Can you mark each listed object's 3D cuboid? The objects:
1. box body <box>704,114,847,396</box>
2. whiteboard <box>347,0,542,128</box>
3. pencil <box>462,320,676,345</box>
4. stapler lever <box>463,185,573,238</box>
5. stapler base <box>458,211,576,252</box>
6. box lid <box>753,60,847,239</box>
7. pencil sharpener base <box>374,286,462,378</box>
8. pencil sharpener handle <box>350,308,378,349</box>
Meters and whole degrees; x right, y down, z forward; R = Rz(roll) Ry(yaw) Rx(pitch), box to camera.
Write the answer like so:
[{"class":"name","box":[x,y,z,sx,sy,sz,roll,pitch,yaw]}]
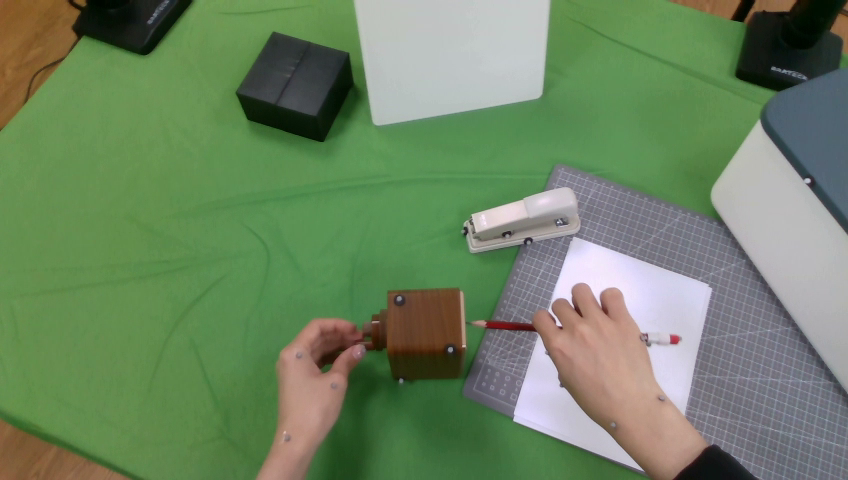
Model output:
[{"class":"box body","box":[0.490,0.008,0.590,0.254,0.161,0.361,-22,67,-11]},{"class":"whiteboard","box":[0.013,-0.313,0.692,0.217,0.308,0.142,-10,46,-5]},{"class":"pencil","box":[0.131,0.083,0.551,0.194,0.012,0.012,5,64,0]},{"class":"stapler lever","box":[0.102,-0.031,0.652,0.118,0.040,0.026,-12,60,-3]},{"class":"stapler base","box":[0.105,-0.020,0.675,0.130,0.024,0.041,-12,61,-2]},{"class":"box lid","box":[0.490,-0.026,0.524,0.263,0.015,0.368,-22,68,-11]},{"class":"pencil sharpener base","box":[-0.006,0.091,0.576,0.077,0.108,0.061,-2,65,-1]},{"class":"pencil sharpener handle","box":[-0.057,0.088,0.564,0.030,0.068,0.035,-2,61,-1]}]
